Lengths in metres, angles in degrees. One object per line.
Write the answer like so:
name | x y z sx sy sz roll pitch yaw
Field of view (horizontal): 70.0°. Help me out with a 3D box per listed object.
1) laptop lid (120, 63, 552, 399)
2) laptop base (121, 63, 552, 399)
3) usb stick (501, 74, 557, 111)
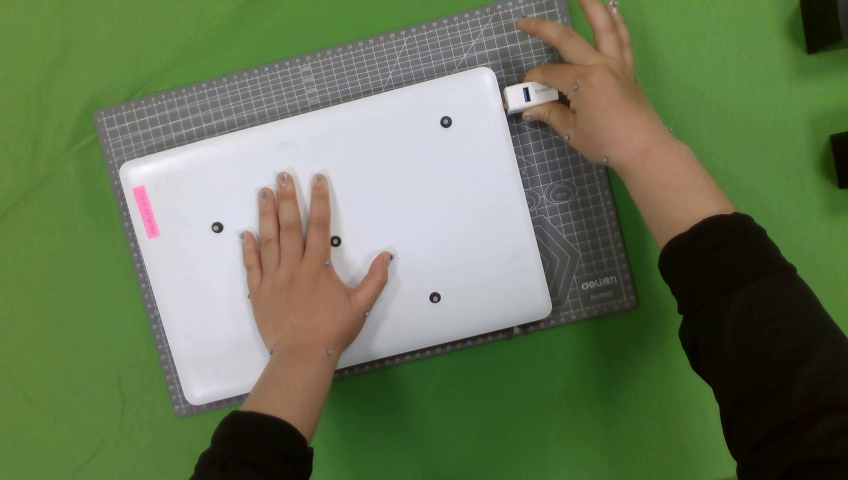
laptop lid | -0.080 -0.002 0.552 0.357 0.013 0.242 -13 96 3
laptop base | -0.080 -0.005 0.561 0.354 0.023 0.236 -15 97 3
usb stick | 0.085 -0.129 0.537 0.059 0.027 0.021 -11 89 1
